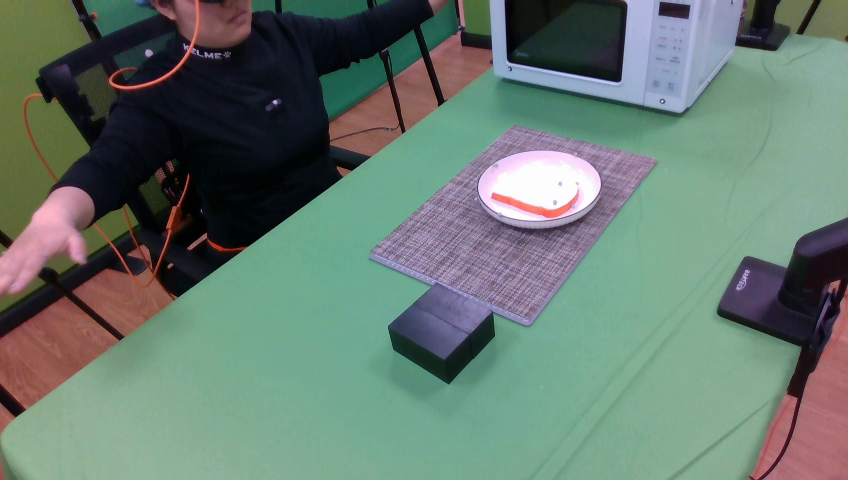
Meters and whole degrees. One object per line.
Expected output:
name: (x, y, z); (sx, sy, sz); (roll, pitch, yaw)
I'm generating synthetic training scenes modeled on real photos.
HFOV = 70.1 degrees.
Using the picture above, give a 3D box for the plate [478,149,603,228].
plate: (0.198, -0.084, 1.030); (0.209, 0.038, 0.208); (-5, 40, 5)

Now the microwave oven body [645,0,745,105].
microwave oven body: (0.416, -0.486, 1.290); (0.438, 0.261, 0.327); (21, 50, 33)

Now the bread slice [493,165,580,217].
bread slice: (0.200, -0.085, 1.034); (0.130, 0.019, 0.105); (23, 50, 34)

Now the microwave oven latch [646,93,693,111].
microwave oven latch: (0.477, -0.273, 1.177); (0.078, 0.029, 0.030); (22, 50, 33)

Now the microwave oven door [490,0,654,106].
microwave oven door: (0.292, -0.420, 1.228); (0.353, 0.245, 0.039); (22, 49, 32)
